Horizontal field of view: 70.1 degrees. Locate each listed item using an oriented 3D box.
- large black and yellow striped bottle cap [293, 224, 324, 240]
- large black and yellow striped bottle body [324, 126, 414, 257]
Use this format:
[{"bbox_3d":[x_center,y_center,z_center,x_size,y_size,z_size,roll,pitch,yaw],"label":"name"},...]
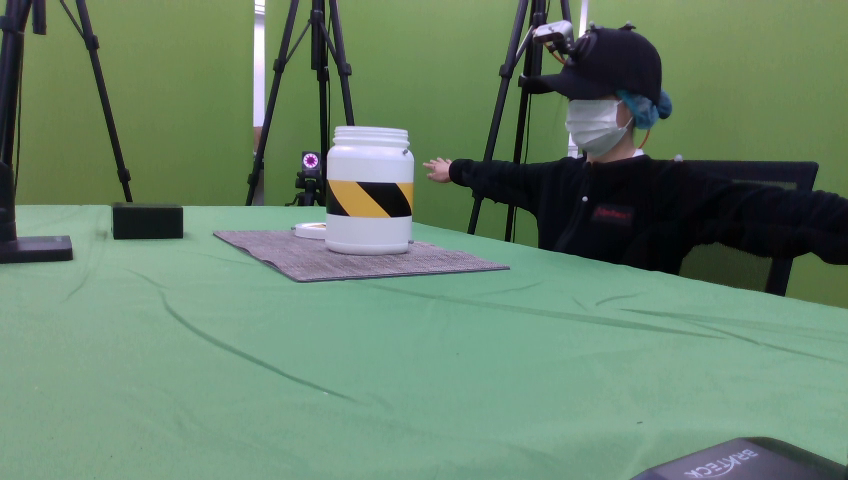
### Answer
[{"bbox_3d":[-0.173,-0.015,1.071,0.115,0.019,0.115,2,7,0],"label":"large black and yellow striped bottle cap"},{"bbox_3d":[-0.082,-0.074,0.904,0.131,0.184,0.130,3,7,0],"label":"large black and yellow striped bottle body"}]
